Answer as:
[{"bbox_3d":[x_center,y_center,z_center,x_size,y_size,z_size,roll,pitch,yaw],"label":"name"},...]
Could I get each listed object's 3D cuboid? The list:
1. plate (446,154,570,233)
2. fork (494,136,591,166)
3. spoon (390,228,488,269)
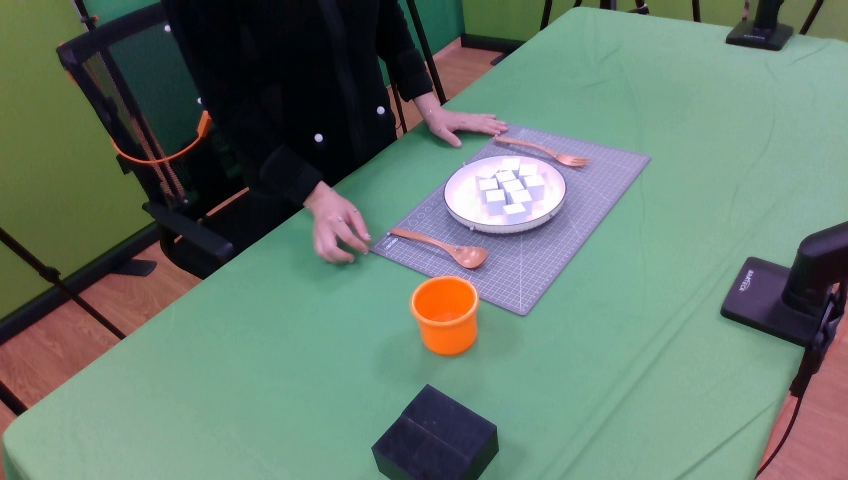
[{"bbox_3d":[0.142,-0.076,1.033,0.207,0.039,0.206,-5,40,5],"label":"plate"},{"bbox_3d":[0.219,-0.171,1.144,0.205,0.019,0.028,24,56,31],"label":"fork"},{"bbox_3d":[0.020,0.006,0.970,0.192,0.022,0.041,21,68,31],"label":"spoon"}]
